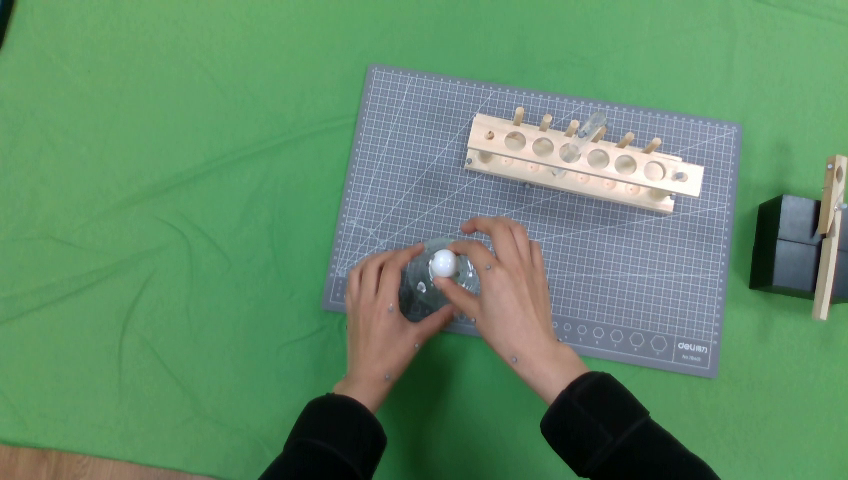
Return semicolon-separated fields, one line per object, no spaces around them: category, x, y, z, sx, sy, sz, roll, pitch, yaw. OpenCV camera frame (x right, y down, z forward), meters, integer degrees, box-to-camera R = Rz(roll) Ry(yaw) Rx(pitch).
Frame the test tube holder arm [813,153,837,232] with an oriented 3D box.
test tube holder arm;0.431;-0.050;0.651;0.010;0.015;0.087;11;82;-5

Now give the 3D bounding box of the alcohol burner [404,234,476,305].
alcohol burner;0.018;0.029;0.637;0.078;0.119;0.077;0;81;-1

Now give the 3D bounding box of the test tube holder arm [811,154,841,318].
test tube holder arm;0.429;-0.005;0.645;0.013;0.015;0.178;10;82;-6

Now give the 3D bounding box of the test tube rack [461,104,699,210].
test tube rack;0.168;-0.098;0.669;0.242;0.085;0.066;13;82;2

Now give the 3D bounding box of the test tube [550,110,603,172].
test tube;0.152;-0.097;0.618;0.017;0.150;0.017;0;80;-2

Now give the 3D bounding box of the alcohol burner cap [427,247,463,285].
alcohol burner cap;0.019;0.024;0.598;0.034;0.048;0.033;-4;72;12
